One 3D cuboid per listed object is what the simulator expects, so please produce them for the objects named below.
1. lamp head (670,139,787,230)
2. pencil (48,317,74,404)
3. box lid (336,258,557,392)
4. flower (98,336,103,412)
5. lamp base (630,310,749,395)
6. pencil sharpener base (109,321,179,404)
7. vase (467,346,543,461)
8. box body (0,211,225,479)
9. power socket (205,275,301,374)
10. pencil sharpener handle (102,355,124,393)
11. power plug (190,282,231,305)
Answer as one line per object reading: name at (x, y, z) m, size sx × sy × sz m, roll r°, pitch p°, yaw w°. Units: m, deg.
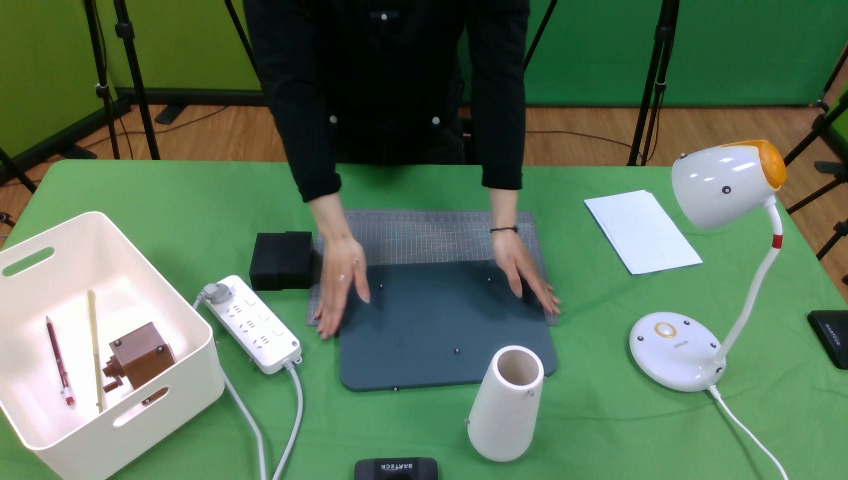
lamp head at (0.415, -0.079, 0.812) m, size 0.113 × 0.123 × 0.112 m, roll 12°, pitch 70°, yaw -37°
pencil at (-0.587, 0.189, 0.975) m, size 0.012 × 0.012 × 0.193 m, roll -23°, pitch 50°, yaw -24°
box lid at (0.030, 0.140, 1.073) m, size 0.372 × 0.015 × 0.261 m, roll -3°, pitch 47°, yaw -7°
flower at (-0.513, 0.210, 0.960) m, size 0.044 × 0.038 × 0.359 m, roll 6°, pitch 34°, yaw -32°
lamp base at (0.447, 0.142, 0.984) m, size 0.161 × 0.181 × 0.178 m, roll -24°, pitch 55°, yaw -24°
pencil sharpener base at (-0.421, 0.187, 0.919) m, size 0.077 × 0.107 × 0.061 m, roll -29°, pitch 55°, yaw -29°
vase at (0.116, 0.234, 0.861) m, size 0.098 × 0.201 × 0.097 m, roll 1°, pitch 47°, yaw -1°
box body at (-0.504, 0.154, 0.916) m, size 0.362 × 0.161 × 0.254 m, roll 36°, pitch 54°, yaw 27°
power socket at (-0.296, 0.140, 1.035) m, size 0.072 × 0.033 × 0.225 m, roll -32°, pitch 57°, yaw -29°
pencil sharpener handle at (-0.460, 0.200, 0.887) m, size 0.030 × 0.068 × 0.036 m, roll -29°, pitch 60°, yaw -29°
power plug at (-0.368, 0.098, 1.039) m, size 0.072 × 0.053 × 0.035 m, roll -26°, pitch 55°, yaw -20°
